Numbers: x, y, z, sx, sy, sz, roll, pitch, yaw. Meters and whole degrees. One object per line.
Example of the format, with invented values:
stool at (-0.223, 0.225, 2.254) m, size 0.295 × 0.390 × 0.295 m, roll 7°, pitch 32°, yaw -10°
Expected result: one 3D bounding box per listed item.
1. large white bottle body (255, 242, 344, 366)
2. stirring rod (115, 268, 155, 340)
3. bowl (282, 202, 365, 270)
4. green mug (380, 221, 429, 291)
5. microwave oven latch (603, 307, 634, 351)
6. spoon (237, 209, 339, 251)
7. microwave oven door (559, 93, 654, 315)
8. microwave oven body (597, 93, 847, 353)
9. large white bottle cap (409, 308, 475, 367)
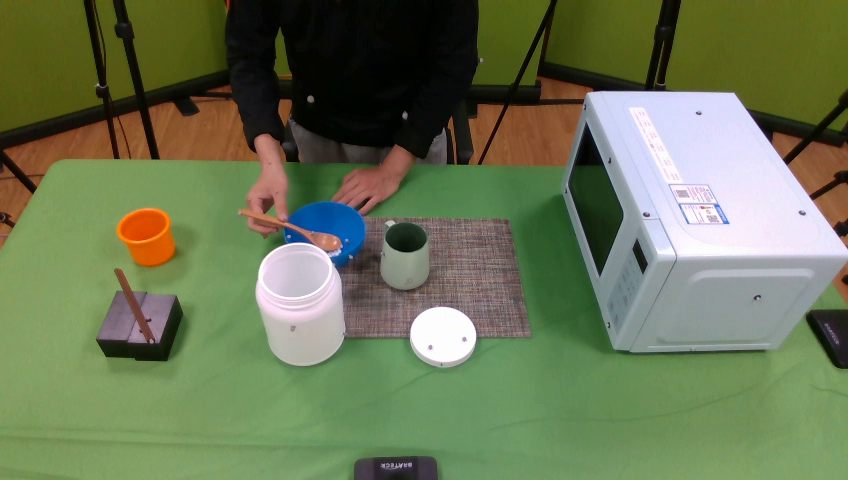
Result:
large white bottle body at (-0.196, 0.102, 0.967) m, size 0.131 × 0.185 × 0.130 m, roll 2°, pitch 49°, yaw -2°
stirring rod at (-0.478, 0.103, 0.999) m, size 0.014 × 0.006 × 0.175 m, roll 7°, pitch 32°, yaw -49°
bowl at (-0.186, 0.006, 1.136) m, size 0.151 × 0.077 × 0.150 m, roll 3°, pitch 46°, yaw -2°
green mug at (-0.043, 0.020, 1.116) m, size 0.092 × 0.105 × 0.124 m, roll -20°, pitch 50°, yaw -21°
microwave oven latch at (0.332, 0.153, 1.044) m, size 0.030 × 0.029 × 0.078 m, roll 0°, pitch 45°, yaw -4°
spoon at (-0.246, -0.022, 1.111) m, size 0.194 × 0.021 × 0.041 m, roll 24°, pitch 44°, yaw -24°
microwave oven door at (0.327, -0.074, 1.123) m, size 0.039 × 0.245 × 0.353 m, roll -1°, pitch 46°, yaw -5°
microwave oven body at (0.475, -0.041, 1.109) m, size 0.326 × 0.261 × 0.438 m, roll -1°, pitch 45°, yaw -4°
large white bottle cap at (0.031, 0.165, 1.041) m, size 0.115 × 0.018 × 0.114 m, roll 2°, pitch 47°, yaw -2°
